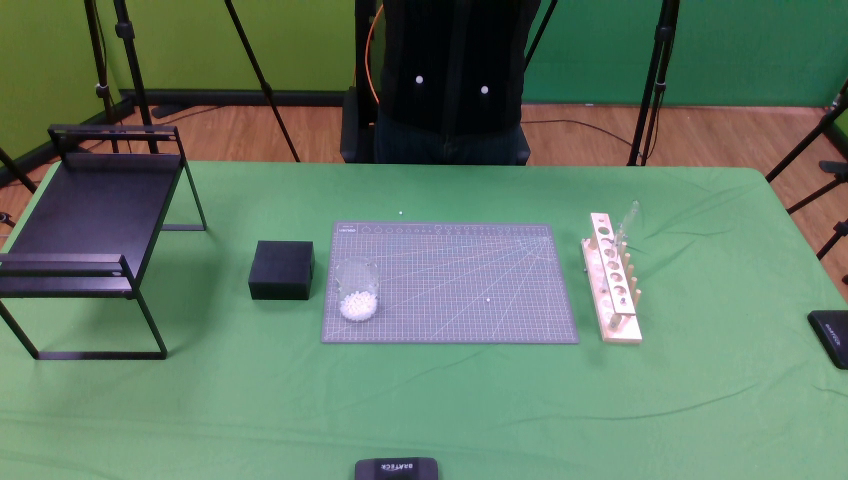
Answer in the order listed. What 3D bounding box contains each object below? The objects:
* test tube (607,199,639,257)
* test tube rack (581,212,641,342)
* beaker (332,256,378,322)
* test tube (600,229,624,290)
[{"bbox_3d":[0.374,-0.020,1.140,0.017,0.151,0.017,3,47,-3],"label":"test tube"},{"bbox_3d":[0.351,0.063,1.121,0.067,0.085,0.241,2,46,-1],"label":"test tube rack"},{"bbox_3d":[-0.114,0.089,1.047,0.083,0.101,0.074,30,52,21],"label":"beaker"},{"bbox_3d":[0.333,0.037,1.076,0.017,0.151,0.017,-1,45,2],"label":"test tube"}]
